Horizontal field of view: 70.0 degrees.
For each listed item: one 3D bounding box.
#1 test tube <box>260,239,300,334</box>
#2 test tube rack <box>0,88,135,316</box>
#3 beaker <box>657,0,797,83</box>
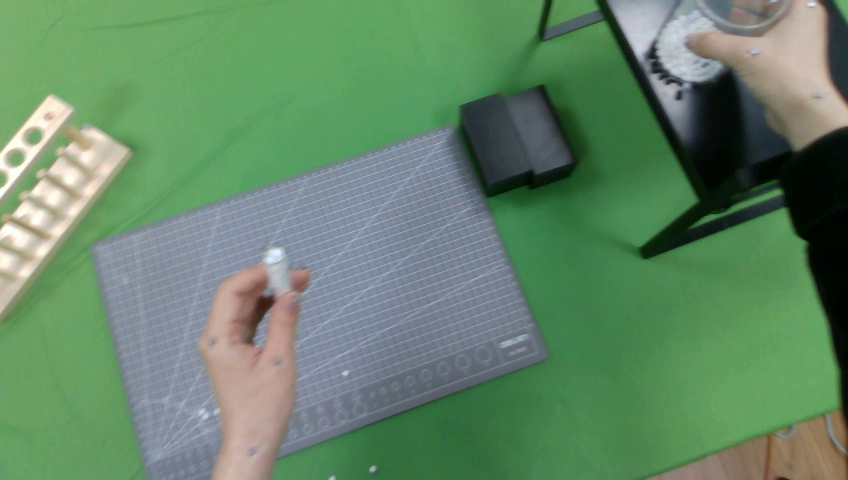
[{"bbox_3d":[-0.103,0.040,0.445,0.017,0.151,0.017,3,62,-6],"label":"test tube"},{"bbox_3d":[-0.441,-0.040,0.671,0.066,0.085,0.242,32,79,9],"label":"test tube rack"},{"bbox_3d":[0.243,-0.185,0.505,0.074,0.100,0.083,-22,77,-5],"label":"beaker"}]
